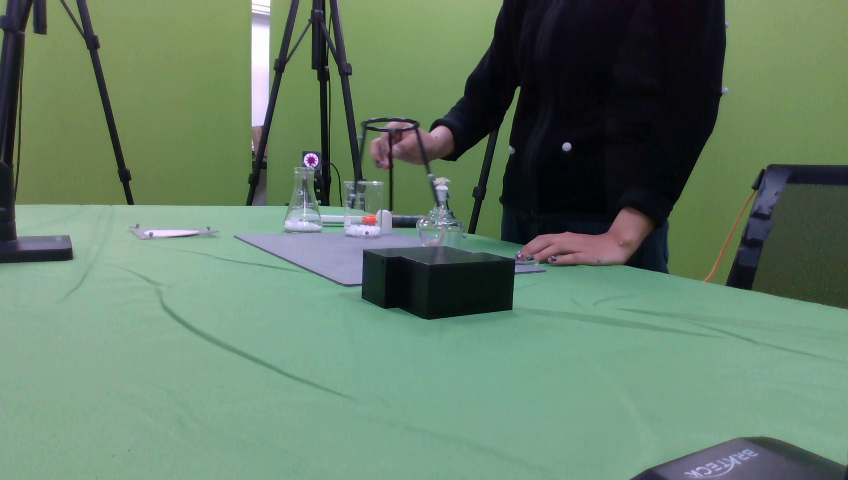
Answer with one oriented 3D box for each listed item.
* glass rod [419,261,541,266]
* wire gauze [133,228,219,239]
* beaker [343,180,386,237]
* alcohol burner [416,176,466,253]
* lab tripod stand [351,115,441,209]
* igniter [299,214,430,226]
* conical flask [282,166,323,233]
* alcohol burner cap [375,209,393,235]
[{"bbox_3d":[0.080,0.032,0.807,0.201,0.008,0.008,1,6,-32],"label":"glass rod"},{"bbox_3d":[-0.421,-0.014,1.024,0.122,0.011,0.124,-2,7,-34],"label":"wire gauze"},{"bbox_3d":[-0.111,-0.058,1.090,0.083,0.100,0.074,7,8,33],"label":"beaker"},{"bbox_3d":[0.027,-0.040,0.934,0.078,0.119,0.078,2,9,0],"label":"alcohol burner"},{"bbox_3d":[-0.043,-0.114,0.907,0.148,0.131,0.148,0,-1,0],"label":"lab tripod stand"},{"bbox_3d":[-0.123,-0.044,1.281,0.278,0.025,0.057,0,-2,-19],"label":"igniter"},{"bbox_3d":[-0.225,-0.076,1.129,0.075,0.122,0.075,2,8,0],"label":"conical flask"},{"bbox_3d":[-0.075,-0.035,1.150,0.034,0.048,0.034,3,7,0],"label":"alcohol burner cap"}]
